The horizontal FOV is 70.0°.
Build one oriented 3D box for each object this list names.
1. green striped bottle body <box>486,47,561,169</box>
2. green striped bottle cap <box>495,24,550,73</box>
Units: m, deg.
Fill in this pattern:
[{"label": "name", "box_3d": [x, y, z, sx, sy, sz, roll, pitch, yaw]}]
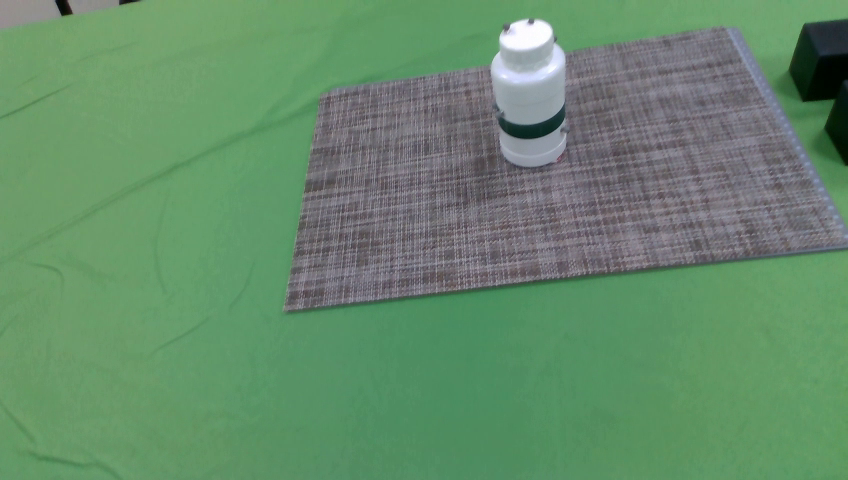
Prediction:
[{"label": "green striped bottle body", "box_3d": [0.090, -0.127, 0.541, 0.063, 0.120, 0.062, -7, 50, 8]}, {"label": "green striped bottle cap", "box_3d": [0.082, -0.159, 0.500, 0.044, 0.020, 0.044, -8, 50, 10]}]
